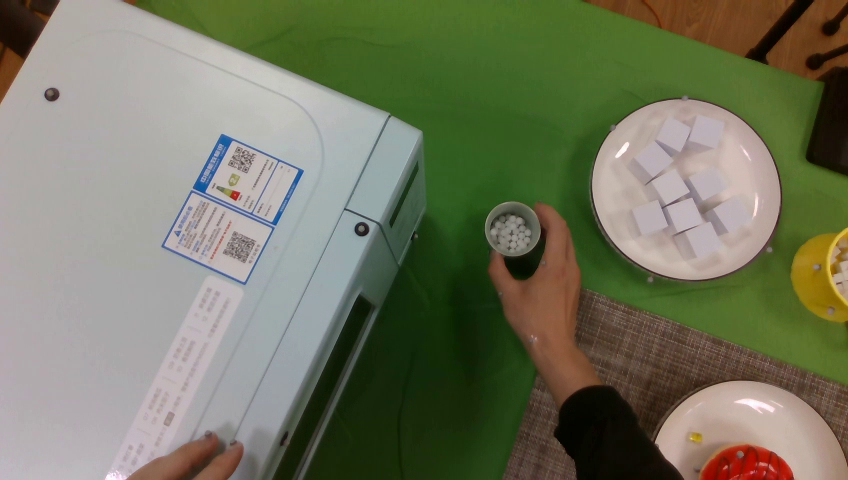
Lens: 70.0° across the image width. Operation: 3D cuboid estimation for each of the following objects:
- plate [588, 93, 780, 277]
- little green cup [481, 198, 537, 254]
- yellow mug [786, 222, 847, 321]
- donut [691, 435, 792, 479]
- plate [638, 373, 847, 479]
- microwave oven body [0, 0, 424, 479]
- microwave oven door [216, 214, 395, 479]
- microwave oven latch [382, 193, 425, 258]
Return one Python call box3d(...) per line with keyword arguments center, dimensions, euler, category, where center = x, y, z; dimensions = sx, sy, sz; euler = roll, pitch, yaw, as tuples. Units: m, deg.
box3d(center=(0.285, -0.060, 0.677), dimensions=(0.208, 0.039, 0.207), euler=(0, 81, 0), category="plate")
box3d(center=(0.092, -0.013, 0.670), dimensions=(0.061, 0.039, 0.061), euler=(0, 83, 1), category="little green cup")
box3d(center=(0.460, 0.046, 0.646), dimensions=(0.100, 0.064, 0.130), euler=(-16, 82, -3), category="yellow mug")
box3d(center=(0.320, 0.248, 0.613), dimensions=(0.099, 0.048, 0.099), euler=(0, 84, 3), category="donut")
box3d(center=(0.322, 0.241, 0.625), dimensions=(0.209, 0.038, 0.208), euler=(0, 81, 1), category="plate")
box3d(center=(-0.234, 0.063, 0.544), dimensions=(0.326, 0.261, 0.440), euler=(24, 82, 4), category="microwave oven body")
box3d(center=(-0.119, 0.159, 0.523), dimensions=(0.039, 0.244, 0.355), euler=(23, 82, 5), category="microwave oven door")
box3d(center=(-0.026, -0.021, 0.653), dimensions=(0.030, 0.029, 0.079), euler=(26, 83, 4), category="microwave oven latch")
